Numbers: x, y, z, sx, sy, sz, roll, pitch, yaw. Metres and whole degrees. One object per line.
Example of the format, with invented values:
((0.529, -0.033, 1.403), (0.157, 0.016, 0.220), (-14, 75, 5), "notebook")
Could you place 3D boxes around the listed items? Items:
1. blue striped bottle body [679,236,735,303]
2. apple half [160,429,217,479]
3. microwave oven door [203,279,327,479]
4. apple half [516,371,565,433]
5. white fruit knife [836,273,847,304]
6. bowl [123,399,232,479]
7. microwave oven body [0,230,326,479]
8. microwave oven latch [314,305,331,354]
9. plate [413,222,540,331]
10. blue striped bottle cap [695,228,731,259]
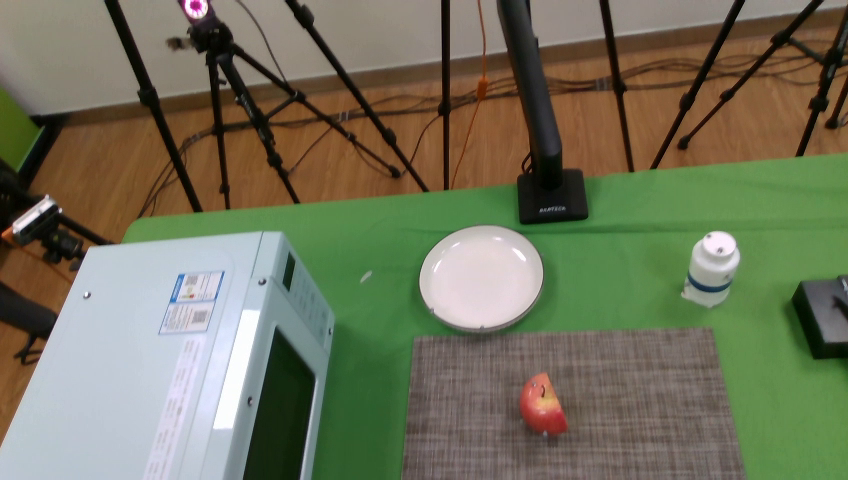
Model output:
((0.415, 0.036, 0.888), (0.063, 0.122, 0.062), (-7, 52, 9), "blue striped bottle body")
((-0.321, 0.295, 0.817), (0.081, 0.033, 0.080), (-2, 67, 6), "apple half")
((-0.198, 0.260, 0.771), (0.039, 0.246, 0.352), (-6, 53, 10), "microwave oven door")
((0.155, 0.229, 0.834), (0.053, 0.075, 0.080), (-22, 56, 2), "apple half")
((0.580, 0.140, 0.792), (0.016, 0.028, 0.206), (-19, 67, 22), "white fruit knife")
((-0.319, 0.301, 0.826), (0.151, 0.077, 0.150), (-8, 61, 15), "bowl")
((-0.339, 0.243, 0.825), (0.325, 0.263, 0.437), (-5, 54, 9), "microwave oven body")
((-0.169, 0.145, 0.980), (0.030, 0.030, 0.078), (-5, 54, 10), "microwave oven latch")
((0.087, 0.063, 1.003), (0.207, 0.039, 0.205), (-6, 53, 9), "plate")
((0.405, 0.005, 0.849), (0.044, 0.021, 0.044), (-6, 55, 9), "blue striped bottle cap")
